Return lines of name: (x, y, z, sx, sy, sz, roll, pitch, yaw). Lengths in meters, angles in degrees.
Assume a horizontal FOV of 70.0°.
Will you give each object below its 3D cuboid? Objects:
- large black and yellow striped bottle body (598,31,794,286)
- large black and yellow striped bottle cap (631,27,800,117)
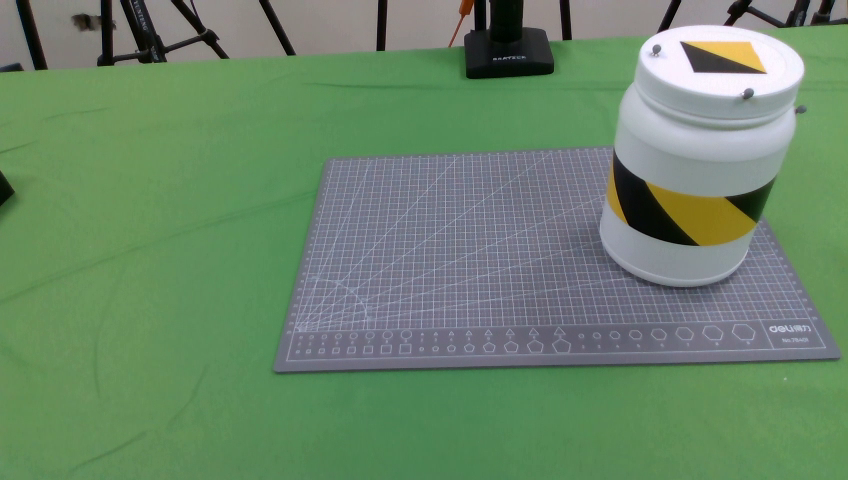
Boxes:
large black and yellow striped bottle body: (0.223, -0.066, 0.509, 0.131, 0.186, 0.129, -3, 43, 3)
large black and yellow striped bottle cap: (0.215, -0.128, 0.452, 0.115, 0.019, 0.114, -2, 43, 2)
